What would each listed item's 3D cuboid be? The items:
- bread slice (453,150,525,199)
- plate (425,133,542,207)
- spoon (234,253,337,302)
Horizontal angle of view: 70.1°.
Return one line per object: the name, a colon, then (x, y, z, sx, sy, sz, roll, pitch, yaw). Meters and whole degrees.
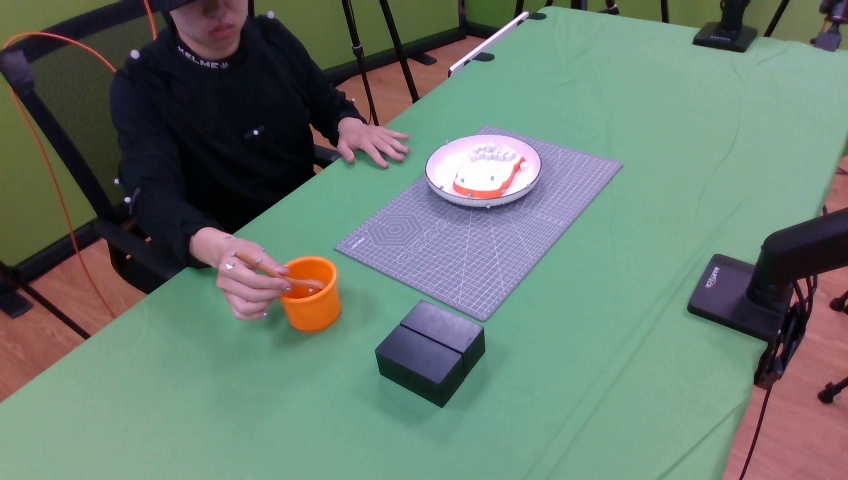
bread slice: (0.112, -0.118, 1.079, 0.104, 0.019, 0.131, 11, 42, 21)
plate: (0.106, -0.121, 1.079, 0.209, 0.038, 0.208, -4, 41, 4)
spoon: (-0.180, 0.053, 0.809, 0.041, 0.195, 0.021, 21, 85, 35)
